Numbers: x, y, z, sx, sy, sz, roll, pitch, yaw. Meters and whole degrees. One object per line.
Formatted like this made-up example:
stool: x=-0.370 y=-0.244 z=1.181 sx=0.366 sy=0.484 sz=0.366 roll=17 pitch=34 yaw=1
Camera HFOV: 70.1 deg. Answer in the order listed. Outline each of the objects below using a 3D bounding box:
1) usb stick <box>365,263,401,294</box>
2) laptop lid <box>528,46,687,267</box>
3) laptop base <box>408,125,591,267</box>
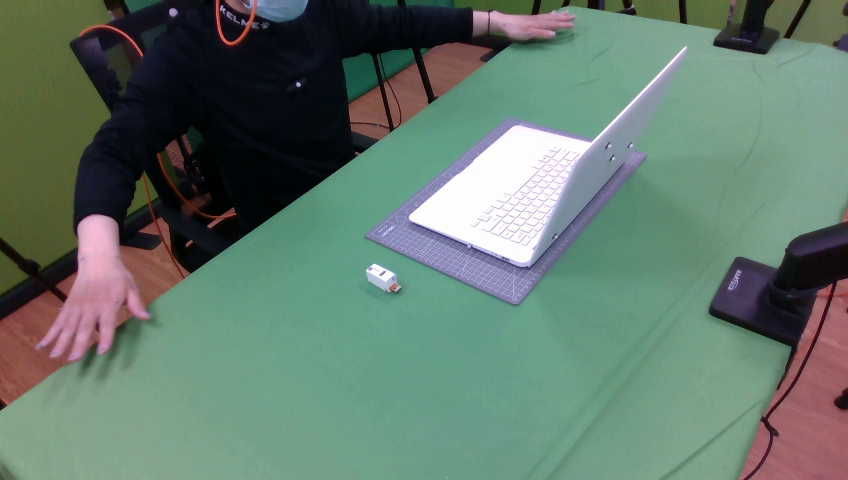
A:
usb stick: x=-0.059 y=0.060 z=0.903 sx=0.058 sy=0.027 sz=0.021 roll=28 pitch=51 yaw=30
laptop lid: x=0.277 y=-0.126 z=0.903 sx=0.013 sy=0.242 sz=0.358 roll=35 pitch=53 yaw=17
laptop base: x=0.168 y=-0.092 z=1.054 sx=0.233 sy=0.023 sz=0.355 roll=21 pitch=47 yaw=33
